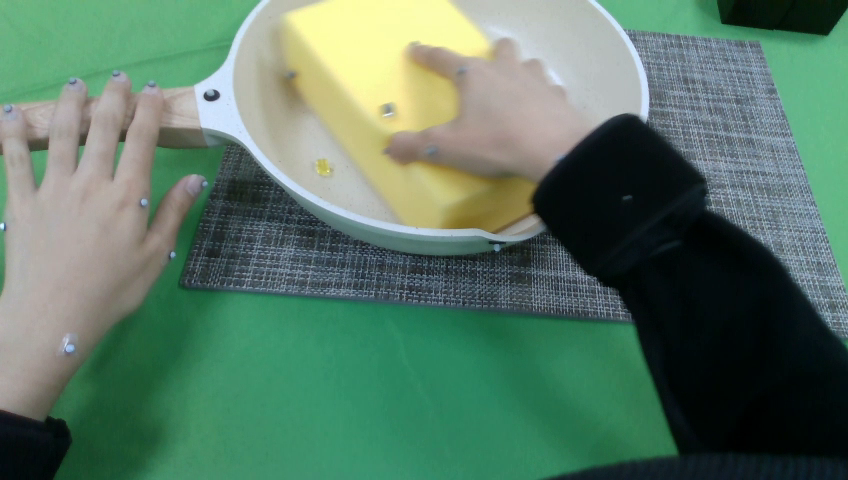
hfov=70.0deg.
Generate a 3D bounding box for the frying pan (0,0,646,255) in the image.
[{"bbox_3d":[-0.090,-0.093,0.415,0.489,0.103,0.303,-8,57,-18],"label":"frying pan"}]

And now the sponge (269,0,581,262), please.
[{"bbox_3d":[-0.006,-0.097,0.434,0.118,0.061,0.205,-30,64,-21],"label":"sponge"}]
